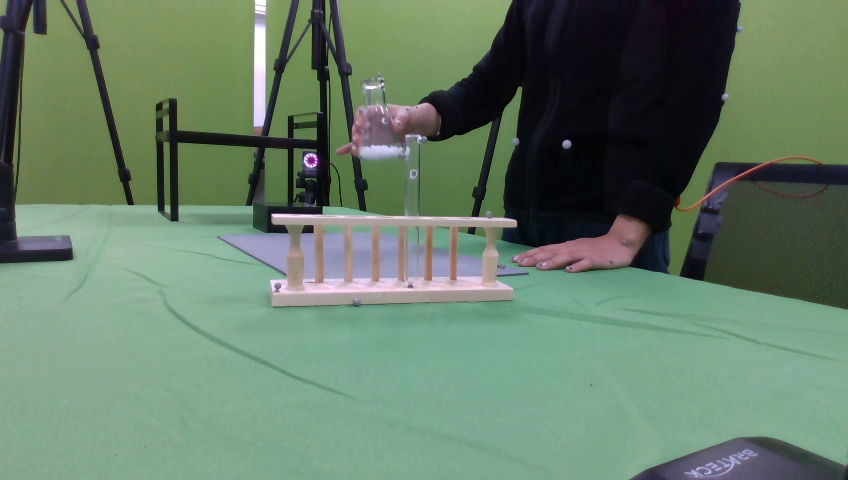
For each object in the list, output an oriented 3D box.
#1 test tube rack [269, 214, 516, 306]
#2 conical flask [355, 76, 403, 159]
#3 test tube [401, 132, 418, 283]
[{"bbox_3d":[-0.032,0.015,0.617,0.243,0.085,0.066,0,7,-17],"label":"test tube rack"},{"bbox_3d":[-0.075,-0.189,0.934,0.075,0.122,0.075,-6,7,1],"label":"conical flask"},{"bbox_3d":[-0.014,-0.030,0.596,0.017,0.150,0.017,1,11,0],"label":"test tube"}]
